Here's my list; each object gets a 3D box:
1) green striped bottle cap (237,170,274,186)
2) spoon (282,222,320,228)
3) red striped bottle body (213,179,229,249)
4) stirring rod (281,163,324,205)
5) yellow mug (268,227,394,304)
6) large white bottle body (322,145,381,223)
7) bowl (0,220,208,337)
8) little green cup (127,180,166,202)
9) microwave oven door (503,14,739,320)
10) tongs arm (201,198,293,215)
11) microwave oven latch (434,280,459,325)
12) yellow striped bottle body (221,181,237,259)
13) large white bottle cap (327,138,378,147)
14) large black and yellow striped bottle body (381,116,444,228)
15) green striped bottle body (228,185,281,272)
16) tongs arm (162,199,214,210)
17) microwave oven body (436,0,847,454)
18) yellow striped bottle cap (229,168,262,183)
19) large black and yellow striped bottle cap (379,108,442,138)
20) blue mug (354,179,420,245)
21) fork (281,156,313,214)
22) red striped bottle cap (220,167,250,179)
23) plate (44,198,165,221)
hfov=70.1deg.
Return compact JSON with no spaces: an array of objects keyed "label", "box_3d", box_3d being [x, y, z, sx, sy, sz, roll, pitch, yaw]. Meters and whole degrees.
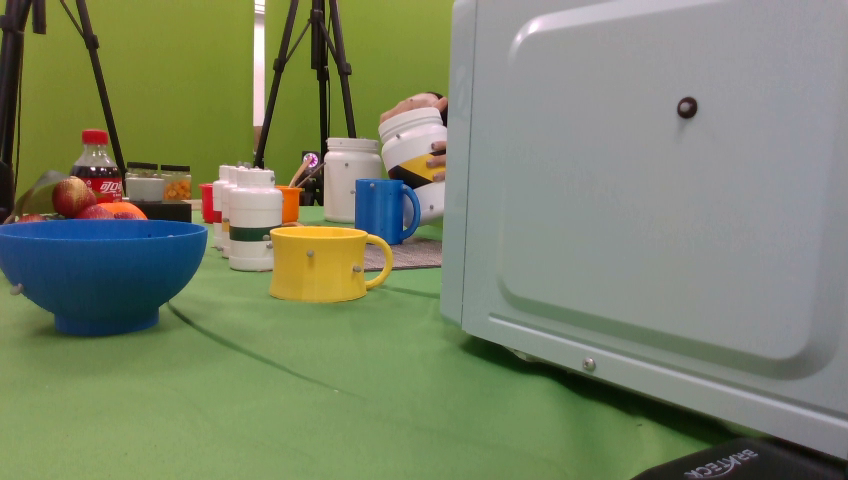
[{"label":"green striped bottle cap","box_3d":[-0.206,-0.075,0.737,0.044,0.020,0.044,1,6,0]},{"label":"spoon","box_3d":[-0.227,-0.023,1.085,0.042,0.021,0.193,-24,18,-23]},{"label":"red striped bottle body","box_3d":[-0.284,-0.047,0.908,0.063,0.119,0.063,2,8,0]},{"label":"stirring rod","box_3d":[-0.278,-0.105,1.293,0.176,0.006,0.014,-47,24,-18]},{"label":"yellow mug","box_3d":[-0.094,0.023,0.630,0.131,0.064,0.099,0,7,-22]},{"label":"large white bottle body","box_3d":[-0.163,-0.135,1.368,0.131,0.184,0.130,2,7,0]},{"label":"bowl","box_3d":[-0.251,0.029,0.479,0.151,0.077,0.151,2,7,0]},{"label":"little green cup","box_3d":[-0.486,-0.087,1.062,0.061,0.038,0.061,0,7,0]},{"label":"microwave oven door","box_3d":[0.218,-0.065,0.600,0.358,0.243,0.039,-4,10,-41]},{"label":"tongs arm","box_3d":[-0.423,-0.084,1.472,0.050,0.026,0.386,2,6,21]},{"label":"microwave oven latch","box_3d":[0.044,0.045,0.470,0.079,0.029,0.030,-2,8,-39]},{"label":"yellow striped bottle body","box_3d":[-0.244,-0.035,0.823,0.063,0.120,0.063,2,8,0]},{"label":"large white bottle cap","box_3d":[-0.160,-0.218,1.357,0.115,0.018,0.115,2,8,0]},{"label":"large black and yellow striped bottle body","box_3d":[0.000,-0.124,1.073,0.131,0.183,0.131,-17,-3,0]},{"label":"green striped bottle body","box_3d":[-0.208,-0.023,0.745,0.063,0.119,0.063,2,7,0]},{"label":"tongs arm","box_3d":[-0.504,-0.091,1.513,0.028,0.028,0.389,0,4,37]},{"label":"microwave oven body","box_3d":[0.279,-0.040,0.464,0.444,0.260,0.324,-3,9,-41]},{"label":"yellow striped bottle cap","box_3d":[-0.240,-0.087,0.816,0.044,0.018,0.044,-3,5,1]},{"label":"large black and yellow striped bottle cap","box_3d":[-0.025,-0.205,1.077,0.115,0.019,0.115,-19,-4,-1]},{"label":"blue mug","box_3d":[-0.061,-0.047,1.005,0.116,0.106,0.082,5,9,20]},{"label":"fork","box_3d":[-0.289,-0.116,1.320,0.028,0.019,0.207,-2,48,27]},{"label":"red striped bottle cap","box_3d":[-0.281,-0.100,0.901,0.044,0.017,0.044,-1,5,0]},{"label":"plate","box_3d":[-0.617,-0.056,1.179,0.209,0.038,0.209,3,7,0]}]
